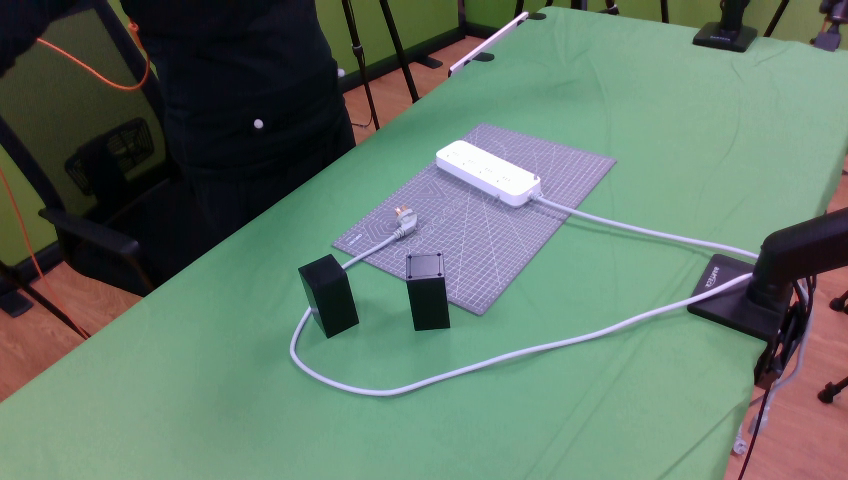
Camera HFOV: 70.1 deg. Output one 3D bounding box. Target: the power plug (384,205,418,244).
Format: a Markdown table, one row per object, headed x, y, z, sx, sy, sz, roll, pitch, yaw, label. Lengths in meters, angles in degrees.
| x | y | z | sx | sy | sz | roll | pitch | yaw | label |
| --- | --- | --- | --- | --- | --- | --- | --- | --- | --- |
| -0.043 | -0.030 | 0.991 | 0.073 | 0.035 | 0.052 | -20 | 58 | -31 | power plug |

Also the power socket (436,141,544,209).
| x | y | z | sx | sy | sz | roll | pitch | yaw | label |
| --- | --- | --- | --- | --- | --- | --- | --- | --- | --- |
| 0.111 | -0.120 | 1.082 | 0.072 | 0.033 | 0.224 | -34 | 47 | -27 | power socket |
